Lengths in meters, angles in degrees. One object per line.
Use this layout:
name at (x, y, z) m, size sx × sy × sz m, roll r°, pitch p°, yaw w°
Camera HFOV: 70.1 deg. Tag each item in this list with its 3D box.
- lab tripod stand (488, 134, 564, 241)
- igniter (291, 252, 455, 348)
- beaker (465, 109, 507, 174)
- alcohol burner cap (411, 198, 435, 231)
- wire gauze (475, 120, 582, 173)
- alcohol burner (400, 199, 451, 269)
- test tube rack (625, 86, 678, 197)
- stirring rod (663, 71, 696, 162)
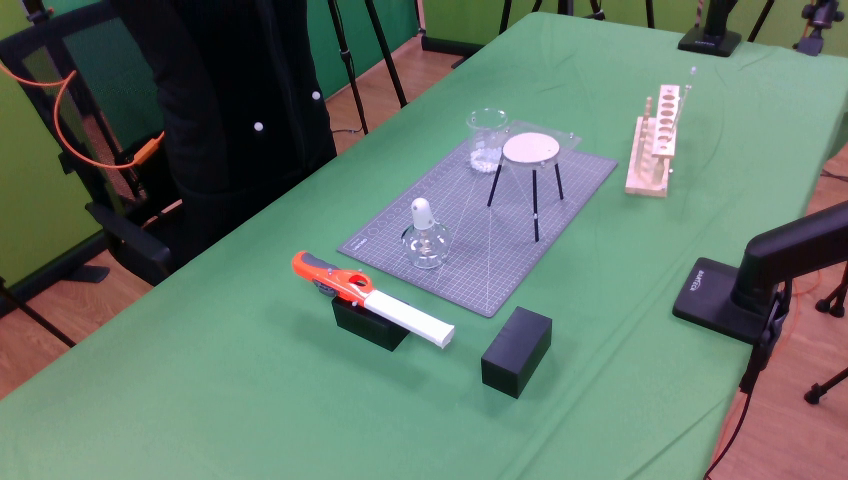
lab tripod stand at (0.168, -0.092, 0.972) m, size 0.148 × 0.132 × 0.147 m, roll -5°, pitch 41°, yaw 5°
igniter at (-0.080, 0.076, 0.822) m, size 0.274 × 0.025 × 0.057 m, roll 23°, pitch 45°, yaw 27°
beaker at (0.118, -0.180, 1.109) m, size 0.084 × 0.100 × 0.073 m, roll -27°, pitch 44°, yaw -23°
alcohol burner cap at (-0.003, -0.041, 0.893) m, size 0.034 × 0.048 × 0.033 m, roll -8°, pitch 41°, yaw 7°
wire gauze at (0.161, -0.143, 0.928) m, size 0.120 × 0.011 × 0.125 m, roll 20°, pitch 47°, yaw 31°
alcohol burner at (0.000, -0.013, 0.917) m, size 0.078 × 0.119 × 0.077 m, roll -5°, pitch 41°, yaw 5°
test tube rack at (0.412, -0.184, 1.088) m, size 0.066 × 0.085 × 0.242 m, roll 9°, pitch 43°, yaw 18°
stirring rod at (0.410, -0.195, 0.981) m, size 0.014 × 0.177 × 0.006 m, roll 12°, pitch 50°, yaw 14°
